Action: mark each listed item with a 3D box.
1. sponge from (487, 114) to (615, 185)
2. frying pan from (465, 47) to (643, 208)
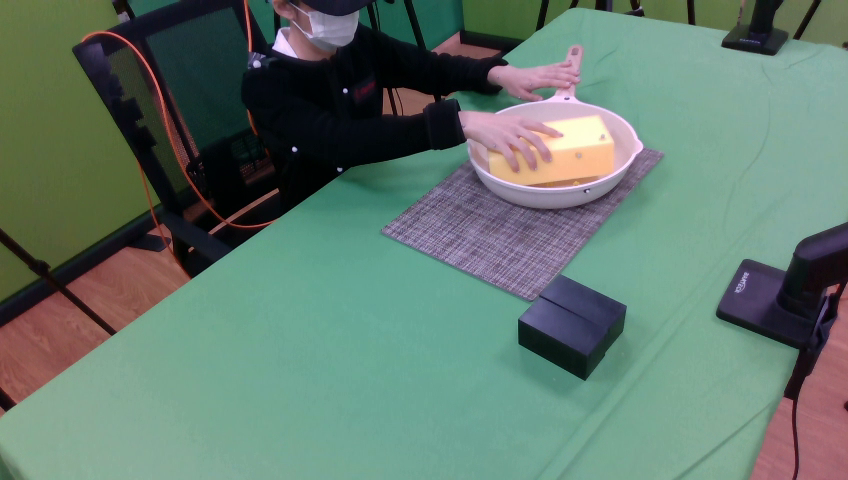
[{"bbox_3d":[0.216,-0.155,1.053,0.207,0.061,0.117,-7,35,5],"label":"sponge"},{"bbox_3d":[0.255,-0.228,1.135,0.305,0.103,0.487,9,51,17],"label":"frying pan"}]
